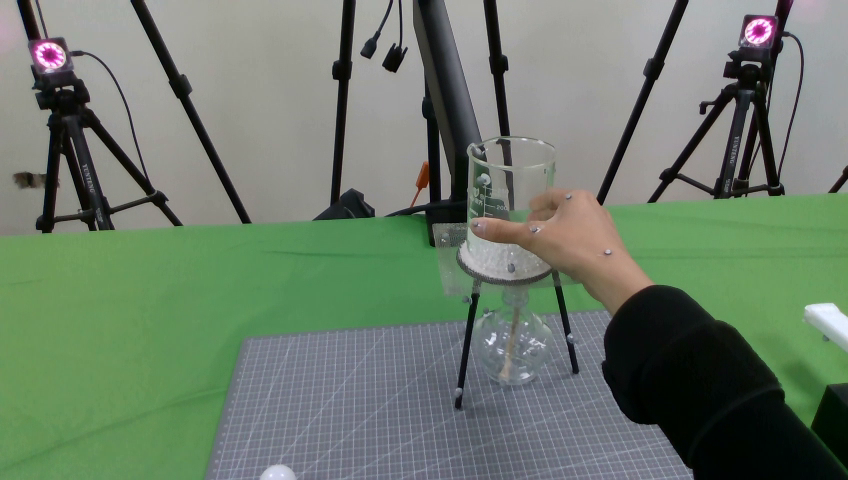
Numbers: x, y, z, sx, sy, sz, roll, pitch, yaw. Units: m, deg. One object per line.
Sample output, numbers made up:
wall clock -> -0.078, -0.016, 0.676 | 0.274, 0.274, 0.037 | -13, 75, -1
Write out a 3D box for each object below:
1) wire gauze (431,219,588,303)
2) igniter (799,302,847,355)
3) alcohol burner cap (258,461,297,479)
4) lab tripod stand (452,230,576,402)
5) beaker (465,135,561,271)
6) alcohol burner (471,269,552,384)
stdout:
wire gauze -> 0.070, 0.011, 0.538 | 0.121, 0.011, 0.124 | -4, 32, -3
igniter -> 0.398, 0.128, 0.473 | 0.057, 0.025, 0.274 | -5, 26, -5
alcohol burner cap -> -0.109, 0.188, 0.459 | 0.034, 0.048, 0.033 | -1, 30, 1
lab tripod stand -> 0.076, 0.067, 0.574 | 0.148, 0.132, 0.147 | 0, 28, 0
beaker -> 0.069, -0.031, 0.515 | 0.074, 0.101, 0.083 | -22, 35, -34
alcohol burner -> 0.084, 0.077, 0.575 | 0.078, 0.120, 0.077 | 0, 31, 0
